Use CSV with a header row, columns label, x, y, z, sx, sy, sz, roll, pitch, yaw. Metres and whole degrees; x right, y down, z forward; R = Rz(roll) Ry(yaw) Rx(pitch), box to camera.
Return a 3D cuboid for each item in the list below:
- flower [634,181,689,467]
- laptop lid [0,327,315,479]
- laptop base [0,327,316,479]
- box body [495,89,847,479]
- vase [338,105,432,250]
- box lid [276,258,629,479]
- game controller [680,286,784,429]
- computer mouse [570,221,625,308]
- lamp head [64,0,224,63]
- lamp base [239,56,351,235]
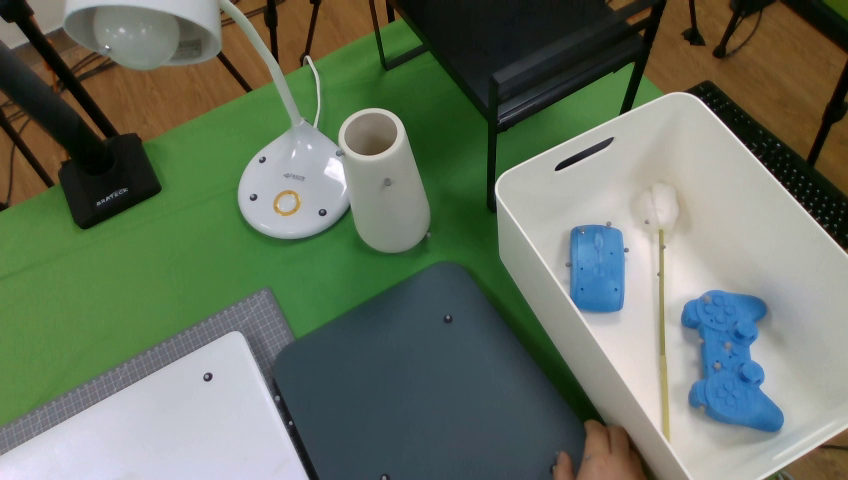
label,x,y,z,sx,sy,sz,roll,pitch,yaw
flower,0.279,0.092,0.694,0.044,0.038,0.358,-12,59,29
laptop lid,-0.311,0.271,0.646,0.357,0.013,0.239,-27,66,-9
laptop base,-0.312,0.274,0.657,0.354,0.023,0.233,-29,68,-10
box body,0.265,0.053,0.644,0.254,0.162,0.360,-26,64,-8
vase,-0.047,-0.069,0.711,0.098,0.202,0.097,-3,62,6
box lid,0.016,0.197,0.648,0.263,0.015,0.367,-29,56,-11
game controller,0.337,0.121,0.662,0.097,0.052,0.154,3,62,8
computer mouse,0.208,0.025,0.726,0.062,0.041,0.116,4,59,10
lamp head,-0.212,-0.211,0.470,0.112,0.113,0.122,-2,80,4
lamp base,-0.178,-0.125,0.761,0.160,0.182,0.177,1,60,6
